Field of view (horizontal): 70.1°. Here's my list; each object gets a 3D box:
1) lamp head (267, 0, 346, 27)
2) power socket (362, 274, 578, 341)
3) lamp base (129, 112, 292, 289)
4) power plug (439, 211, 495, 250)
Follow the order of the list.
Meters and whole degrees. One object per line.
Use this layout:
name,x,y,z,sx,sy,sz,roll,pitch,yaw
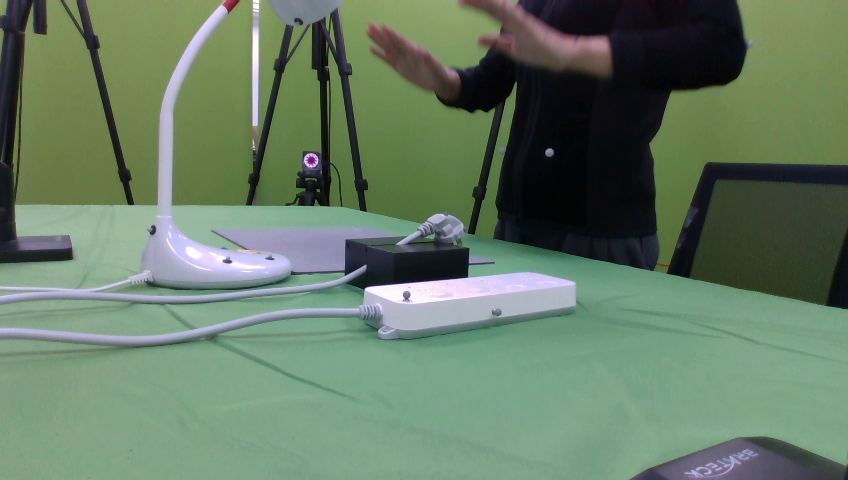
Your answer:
lamp head,-0.157,-0.326,0.701,0.112,0.112,0.123,6,-16,26
power socket,0.048,0.056,0.549,0.228,0.032,0.072,-3,8,-35
lamp base,-0.233,-0.045,0.658,0.160,0.180,0.180,7,11,29
power plug,0.049,-0.006,0.683,0.072,0.053,0.035,15,57,39
